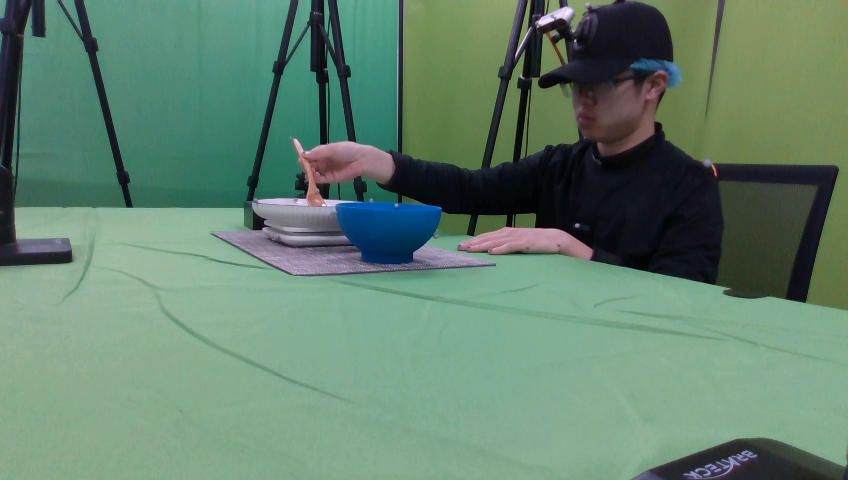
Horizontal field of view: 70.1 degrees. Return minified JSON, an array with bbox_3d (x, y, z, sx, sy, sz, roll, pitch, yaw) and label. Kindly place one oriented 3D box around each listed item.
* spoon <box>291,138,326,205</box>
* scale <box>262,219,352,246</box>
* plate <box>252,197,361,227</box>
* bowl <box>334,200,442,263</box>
[{"bbox_3d":[-0.204,-0.116,1.064,0.042,0.193,0.021,10,-44,-40],"label":"spoon"},{"bbox_3d":[-0.160,-0.015,1.027,0.202,0.031,0.148,-2,8,-32],"label":"scale"},{"bbox_3d":[-0.178,-0.047,1.012,0.209,0.038,0.209,2,6,0],"label":"plate"},{"bbox_3d":[-0.051,-0.012,0.849,0.151,0.077,0.151,2,7,0],"label":"bowl"}]
